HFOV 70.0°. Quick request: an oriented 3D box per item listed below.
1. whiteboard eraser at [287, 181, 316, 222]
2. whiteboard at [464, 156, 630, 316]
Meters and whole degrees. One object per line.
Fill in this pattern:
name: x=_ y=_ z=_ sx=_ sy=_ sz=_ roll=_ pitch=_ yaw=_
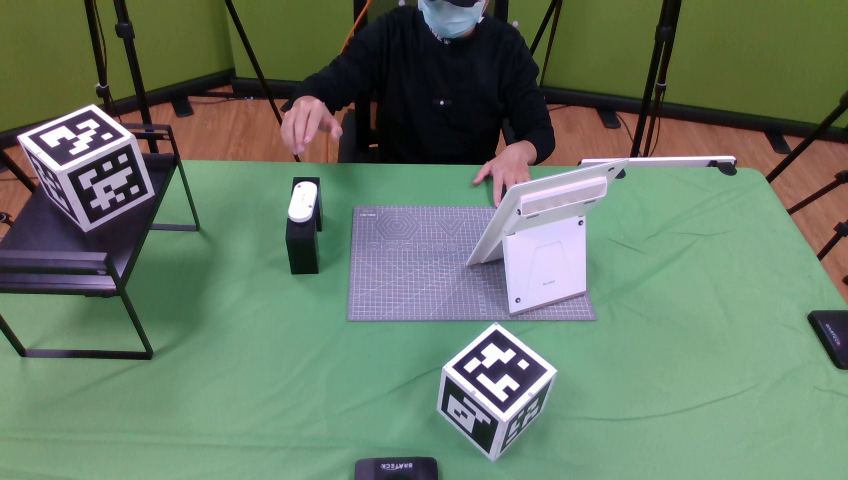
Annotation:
whiteboard eraser: x=-0.224 y=-0.071 z=1.111 sx=0.041 sy=0.019 sz=0.100 roll=3 pitch=45 yaw=0
whiteboard: x=0.224 y=0.014 z=1.041 sx=0.217 sy=0.306 sz=0.143 roll=-14 pitch=68 yaw=-17
